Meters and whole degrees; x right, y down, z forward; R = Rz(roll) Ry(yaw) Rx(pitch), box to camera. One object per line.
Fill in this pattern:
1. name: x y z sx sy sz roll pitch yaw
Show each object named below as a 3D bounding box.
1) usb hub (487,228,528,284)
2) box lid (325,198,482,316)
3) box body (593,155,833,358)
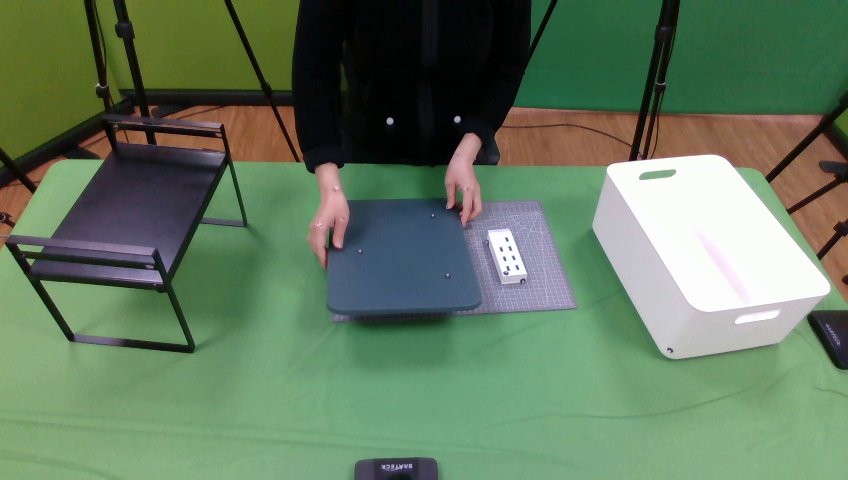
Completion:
1. usb hub: 0.159 0.029 1.173 0.049 0.025 0.124 -6 46 -9
2. box lid: -0.048 0.015 1.128 0.263 0.015 0.369 -1 33 -6
3. box body: 0.497 0.023 1.112 0.254 0.161 0.361 -7 47 -10
